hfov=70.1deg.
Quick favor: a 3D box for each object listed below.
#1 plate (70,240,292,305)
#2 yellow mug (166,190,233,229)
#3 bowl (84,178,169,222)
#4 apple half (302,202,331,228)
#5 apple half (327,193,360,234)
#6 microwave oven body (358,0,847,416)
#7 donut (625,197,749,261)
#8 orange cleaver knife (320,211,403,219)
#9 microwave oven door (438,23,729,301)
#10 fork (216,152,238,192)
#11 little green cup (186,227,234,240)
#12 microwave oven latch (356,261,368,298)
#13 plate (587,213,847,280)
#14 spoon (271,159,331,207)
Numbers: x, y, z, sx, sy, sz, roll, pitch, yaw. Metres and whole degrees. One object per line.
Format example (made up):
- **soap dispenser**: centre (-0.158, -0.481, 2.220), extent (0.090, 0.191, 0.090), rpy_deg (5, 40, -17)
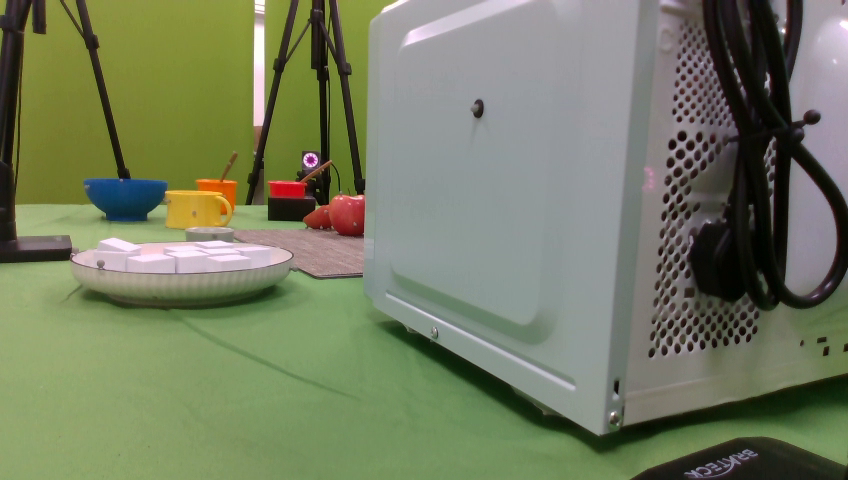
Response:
- **plate**: centre (-0.242, 0.031, 0.618), extent (0.208, 0.039, 0.207), rpy_deg (2, 8, 0)
- **yellow mug**: centre (-0.415, -0.057, 1.132), extent (0.130, 0.064, 0.100), rpy_deg (6, 8, 16)
- **bowl**: centre (-0.584, -0.078, 1.194), extent (0.151, 0.077, 0.151), rpy_deg (3, 8, 0)
- **apple half**: centre (-0.192, -0.043, 1.169), extent (0.081, 0.032, 0.081), rpy_deg (-23, -12, -5)
- **apple half**: centre (-0.132, -0.047, 1.087), extent (0.081, 0.074, 0.053), rpy_deg (5, 11, -13)
- **microwave oven body**: centre (0.211, -0.047, 0.474), extent (0.444, 0.260, 0.324), rpy_deg (-1, 7, -28)
- **donut**: centre (0.223, -0.008, 0.519), extent (0.099, 0.048, 0.099), rpy_deg (13, 2, 0)
- **orange cleaver knife**: centre (-0.142, -0.057, 1.395), extent (0.077, 0.012, 0.212), rpy_deg (2, 7, 44)
- **microwave oven door**: centre (0.181, -0.072, 0.620), extent (0.358, 0.243, 0.039), rpy_deg (-2, 8, -29)
- **fork**: centre (-0.455, -0.132, 1.367), extent (0.028, 0.018, 0.207), rpy_deg (-2, -35, -38)
- **little green cup**: centre (-0.285, 0.005, 0.805), extent (0.061, 0.038, 0.061), rpy_deg (2, 8, 0)
- **microwave oven latch**: centre (-0.020, 0.033, 0.530), extent (0.079, 0.029, 0.030), rpy_deg (0, 7, -26)
- **plate**: centre (0.244, 0.002, 0.512), extent (0.209, 0.038, 0.209), rpy_deg (1, 7, 0)
- **spoon**: centre (-0.308, -0.142, 1.514), extent (0.193, 0.021, 0.041), rpy_deg (-41, 3, 8)
